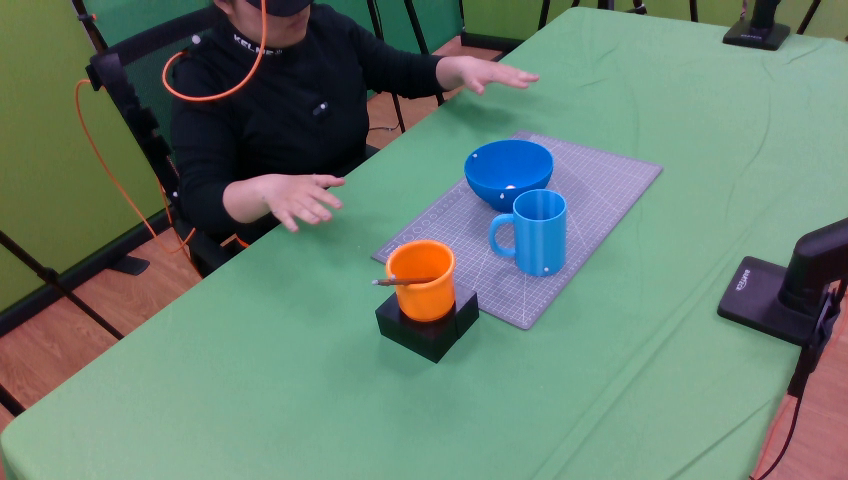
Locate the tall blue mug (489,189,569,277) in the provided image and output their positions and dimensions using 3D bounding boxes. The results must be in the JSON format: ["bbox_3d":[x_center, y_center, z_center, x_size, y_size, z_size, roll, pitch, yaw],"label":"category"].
[{"bbox_3d":[0.158,-0.005,0.886,0.107,0.108,0.077,-23,43,-16],"label":"tall blue mug"}]

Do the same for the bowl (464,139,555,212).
[{"bbox_3d":[0.145,-0.100,1.025,0.151,0.077,0.150,-5,40,5],"label":"bowl"}]

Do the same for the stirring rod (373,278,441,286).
[{"bbox_3d":[-0.018,0.052,0.757,0.014,0.006,0.177,10,2,24],"label":"stirring rod"}]
